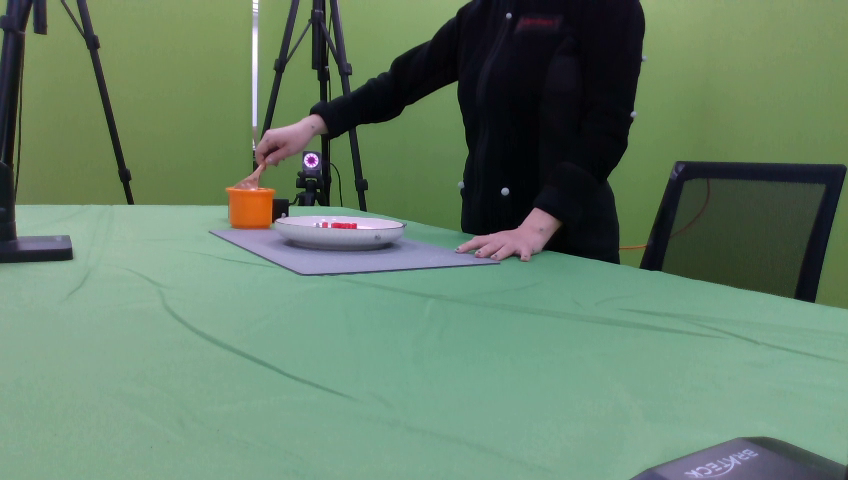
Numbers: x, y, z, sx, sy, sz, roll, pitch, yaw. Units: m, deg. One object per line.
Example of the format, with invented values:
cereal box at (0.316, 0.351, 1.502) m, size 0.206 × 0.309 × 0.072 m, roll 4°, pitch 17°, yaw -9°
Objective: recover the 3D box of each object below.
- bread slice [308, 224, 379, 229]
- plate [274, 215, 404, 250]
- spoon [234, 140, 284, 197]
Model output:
bread slice at (-0.134, -0.012, 0.974) m, size 0.135 × 0.018 × 0.106 m, roll -3°, pitch 8°, yaw -33°
plate at (-0.137, -0.013, 0.981) m, size 0.209 × 0.038 × 0.209 m, roll 2°, pitch 7°, yaw 0°
spoon at (-0.322, -0.146, 1.207) m, size 0.041 × 0.021 × 0.194 m, roll 21°, pitch 49°, yaw 1°
